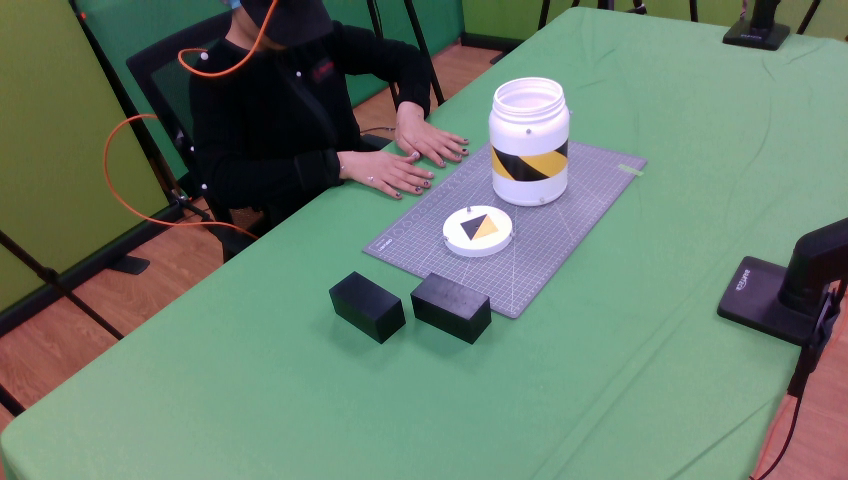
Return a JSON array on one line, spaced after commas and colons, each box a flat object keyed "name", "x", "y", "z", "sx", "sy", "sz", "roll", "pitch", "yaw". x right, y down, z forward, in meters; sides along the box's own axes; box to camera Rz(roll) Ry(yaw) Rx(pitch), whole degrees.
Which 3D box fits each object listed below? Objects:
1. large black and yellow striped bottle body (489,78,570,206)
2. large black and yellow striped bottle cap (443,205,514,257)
[{"name": "large black and yellow striped bottle body", "x": 0.177, "y": -0.164, "z": 1.012, "sx": 0.131, "sy": 0.185, "sz": 0.130, "roll": -5, "pitch": 40, "yaw": 5}, {"name": "large black and yellow striped bottle cap", "x": 0.088, "y": -0.016, "z": 0.986, "sx": 0.115, "sy": 0.019, "sz": 0.114, "roll": -4, "pitch": 41, "yaw": 4}]
